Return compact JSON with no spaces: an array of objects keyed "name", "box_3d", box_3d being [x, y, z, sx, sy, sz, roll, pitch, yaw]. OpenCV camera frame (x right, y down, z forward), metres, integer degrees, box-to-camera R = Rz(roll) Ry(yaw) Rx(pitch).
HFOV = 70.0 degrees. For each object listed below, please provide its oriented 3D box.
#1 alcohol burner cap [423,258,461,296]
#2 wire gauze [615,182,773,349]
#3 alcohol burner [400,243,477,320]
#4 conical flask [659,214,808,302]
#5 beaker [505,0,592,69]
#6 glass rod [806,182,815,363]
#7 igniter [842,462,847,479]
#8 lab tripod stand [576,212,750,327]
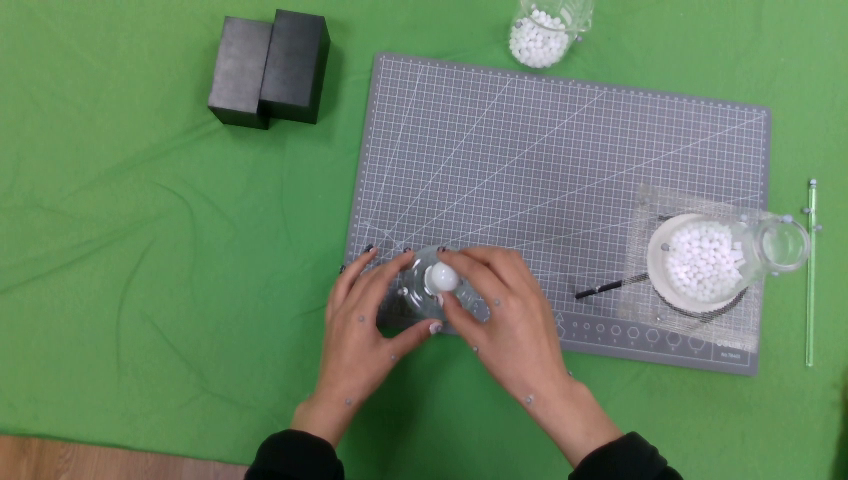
[{"name":"alcohol burner cap","box_3d":[0.018,0.031,0.544,0.034,0.048,0.033,2,79,-7]},{"name":"wire gauze","box_3d":[0.233,0.021,0.522,0.125,0.011,0.121,14,84,-2]},{"name":"alcohol burner","box_3d":[0.014,0.039,0.589,0.078,0.119,0.077,0,83,0]},{"name":"conical flask","box_3d":[0.238,0.009,0.464,0.075,0.122,0.075,0,83,-1]},{"name":"beaker","box_3d":[0.129,-0.230,0.641,0.084,0.100,0.074,44,83,4]},{"name":"glass rod","box_3d":[0.419,0.033,0.658,0.008,0.008,0.199,6,81,-1]},{"name":"igniter","box_3d":[0.487,0.135,0.637,0.057,0.025,0.276,20,82,-9]},{"name":"lab tripod stand","box_3d":[0.233,0.032,0.587,0.148,0.132,0.148,0,83,-1]}]
